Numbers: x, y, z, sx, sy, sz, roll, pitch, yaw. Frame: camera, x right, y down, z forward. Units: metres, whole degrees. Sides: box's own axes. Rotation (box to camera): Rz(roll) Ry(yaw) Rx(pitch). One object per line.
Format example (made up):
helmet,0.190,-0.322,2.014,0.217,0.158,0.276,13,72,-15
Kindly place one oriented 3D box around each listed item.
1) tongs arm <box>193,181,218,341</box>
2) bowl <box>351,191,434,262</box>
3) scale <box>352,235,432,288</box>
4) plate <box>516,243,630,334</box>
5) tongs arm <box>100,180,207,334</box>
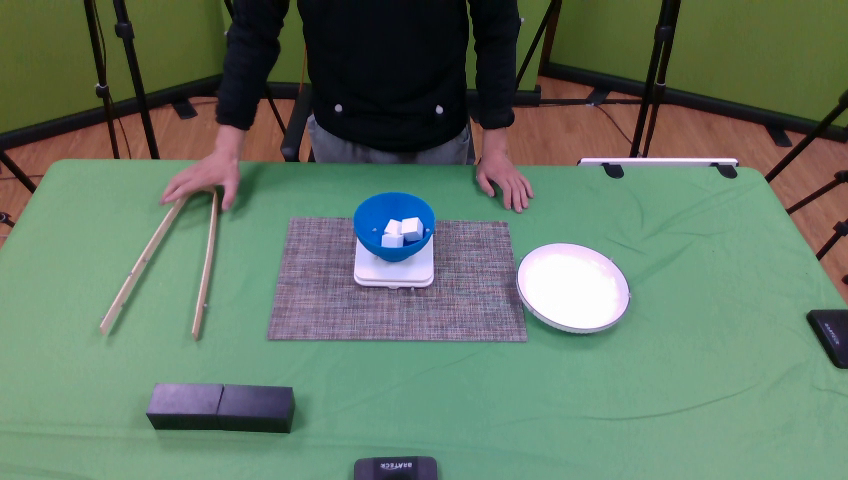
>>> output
tongs arm,-0.413,0.024,1.140,0.028,0.028,0.385,-5,47,-7
bowl,-0.057,-0.013,1.119,0.151,0.077,0.150,1,46,-1
scale,-0.060,0.010,1.171,0.149,0.032,0.199,2,46,-3
plate,0.272,0.092,1.120,0.208,0.039,0.206,2,46,-2
tongs arm,-0.494,0.018,1.132,0.051,0.026,0.382,7,45,-1
